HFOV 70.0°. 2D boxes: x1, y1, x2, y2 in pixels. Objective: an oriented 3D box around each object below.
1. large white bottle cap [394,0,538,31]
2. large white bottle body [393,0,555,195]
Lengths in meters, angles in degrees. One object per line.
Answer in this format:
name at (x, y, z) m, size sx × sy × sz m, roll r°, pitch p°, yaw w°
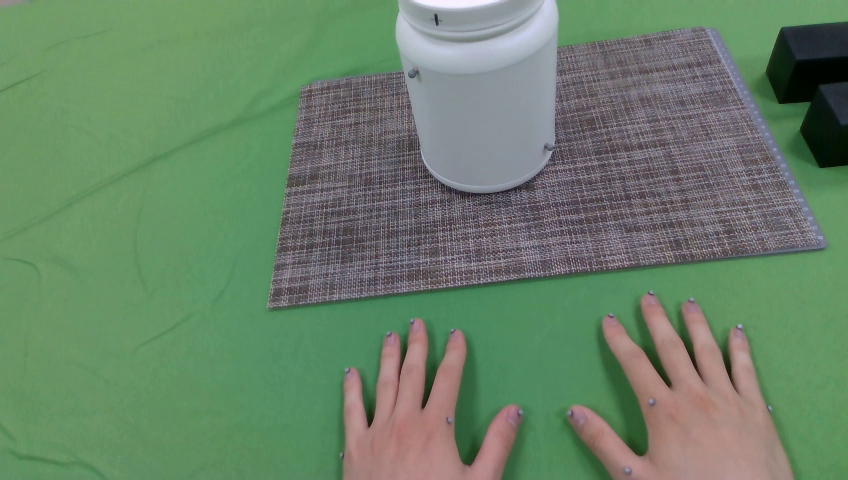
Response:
large white bottle cap at (0.033, -0.196, 0.453) m, size 0.115 × 0.018 × 0.113 m, roll -5°, pitch 52°, yaw 6°
large white bottle body at (0.045, -0.144, 0.519) m, size 0.130 × 0.186 × 0.129 m, roll -5°, pitch 52°, yaw 7°
